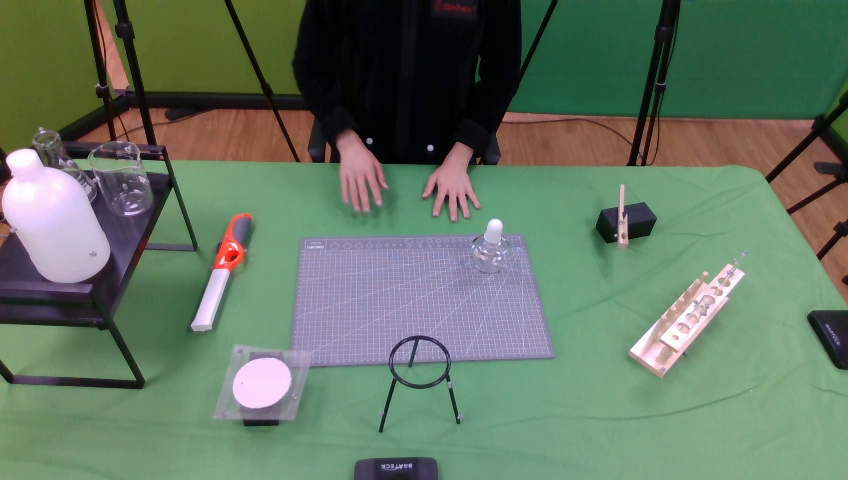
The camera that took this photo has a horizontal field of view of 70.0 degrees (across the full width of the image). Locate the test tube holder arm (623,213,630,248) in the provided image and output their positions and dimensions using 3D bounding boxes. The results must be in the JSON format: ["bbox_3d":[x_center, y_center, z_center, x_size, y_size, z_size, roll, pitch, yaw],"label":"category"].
[{"bbox_3d":[0.392,-0.020,1.180,0.010,0.015,0.087,15,47,-1],"label":"test tube holder arm"}]

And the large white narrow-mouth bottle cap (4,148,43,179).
[{"bbox_3d":[-0.505,-0.096,0.765,0.038,0.024,0.037,2,46,-1],"label":"large white narrow-mouth bottle cap"}]

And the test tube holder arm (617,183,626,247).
[{"bbox_3d":[0.395,-0.054,1.210,0.013,0.015,0.177,15,47,-1],"label":"test tube holder arm"}]

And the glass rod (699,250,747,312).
[{"bbox_3d":[0.500,0.075,1.021,0.008,0.201,0.008,0,55,1],"label":"glass rod"}]

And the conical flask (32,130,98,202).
[{"bbox_3d":[-0.565,-0.110,0.944,0.075,0.122,0.075,2,46,-2],"label":"conical flask"}]

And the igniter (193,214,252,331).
[{"bbox_3d":[-0.367,0.050,1.119,0.057,0.025,0.275,-3,46,7],"label":"igniter"}]

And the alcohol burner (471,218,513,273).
[{"bbox_3d":[0.128,0.005,1.132,0.078,0.120,0.077,0,47,0],"label":"alcohol burner"}]

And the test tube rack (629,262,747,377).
[{"bbox_3d":[0.464,0.126,1.060,0.242,0.085,0.066,-34,56,-31],"label":"test tube rack"}]

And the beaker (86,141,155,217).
[{"bbox_3d":[-0.467,-0.092,0.950,0.084,0.101,0.073,15,47,11],"label":"beaker"}]

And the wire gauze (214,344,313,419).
[{"bbox_3d":[-0.241,0.213,0.916,0.121,0.011,0.124,5,46,1],"label":"wire gauze"}]

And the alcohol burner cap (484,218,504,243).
[{"bbox_3d":[0.130,-0.021,1.106,0.034,0.048,0.033,3,51,-4],"label":"alcohol burner cap"}]

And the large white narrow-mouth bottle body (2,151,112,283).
[{"bbox_3d":[-0.507,-0.036,0.825,0.102,0.195,0.101,1,46,-1],"label":"large white narrow-mouth bottle body"}]

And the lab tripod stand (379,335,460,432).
[{"bbox_3d":[-0.011,0.214,0.911,0.148,0.132,0.147,1,45,0],"label":"lab tripod stand"}]

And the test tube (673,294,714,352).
[{"bbox_3d":[0.428,0.137,0.978,0.017,0.151,0.017,4,47,-4],"label":"test tube"}]
